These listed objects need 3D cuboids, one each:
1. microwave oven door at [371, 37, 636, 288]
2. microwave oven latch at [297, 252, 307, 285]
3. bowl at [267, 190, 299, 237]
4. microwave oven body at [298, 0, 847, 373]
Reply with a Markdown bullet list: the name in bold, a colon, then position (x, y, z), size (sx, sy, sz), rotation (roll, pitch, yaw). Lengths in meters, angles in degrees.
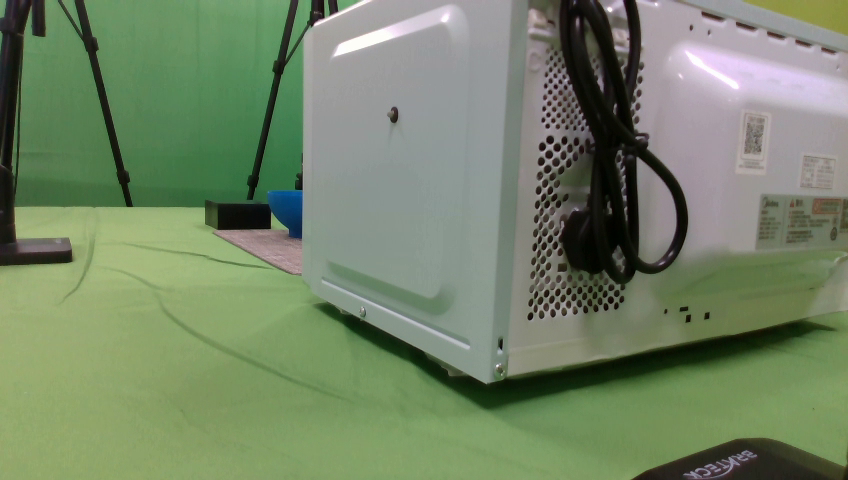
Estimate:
- **microwave oven door**: position (0.109, -0.080, 0.687), size (0.358, 0.243, 0.039), rotation (-2, 9, -33)
- **microwave oven latch**: position (-0.082, 0.027, 0.583), size (0.079, 0.029, 0.030), rotation (-1, 8, -33)
- **bowl**: position (-0.202, -0.046, 1.070), size (0.151, 0.077, 0.151), rotation (3, 7, 0)
- **microwave oven body**: position (0.151, -0.055, 0.543), size (0.444, 0.260, 0.324), rotation (-1, 7, -33)
